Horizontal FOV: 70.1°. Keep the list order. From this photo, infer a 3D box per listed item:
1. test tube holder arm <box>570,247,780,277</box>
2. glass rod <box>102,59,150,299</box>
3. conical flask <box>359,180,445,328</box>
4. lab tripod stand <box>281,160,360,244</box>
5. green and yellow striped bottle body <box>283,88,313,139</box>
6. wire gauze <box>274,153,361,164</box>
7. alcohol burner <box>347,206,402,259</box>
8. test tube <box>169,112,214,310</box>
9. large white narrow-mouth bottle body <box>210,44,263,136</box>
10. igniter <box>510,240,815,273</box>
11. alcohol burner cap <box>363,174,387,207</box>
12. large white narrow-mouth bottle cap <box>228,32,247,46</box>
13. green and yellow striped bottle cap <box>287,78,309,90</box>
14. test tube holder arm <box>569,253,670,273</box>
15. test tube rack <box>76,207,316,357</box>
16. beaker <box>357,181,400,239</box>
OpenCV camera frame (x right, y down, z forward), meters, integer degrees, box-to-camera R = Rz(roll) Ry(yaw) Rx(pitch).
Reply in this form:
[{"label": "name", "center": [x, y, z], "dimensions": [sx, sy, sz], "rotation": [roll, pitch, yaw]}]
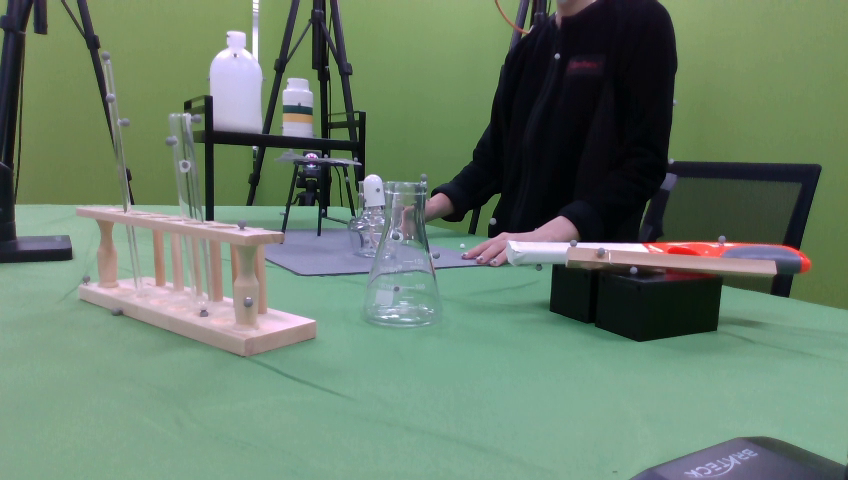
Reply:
[{"label": "test tube holder arm", "center": [0.217, 0.019, 0.525], "dimensions": [0.178, 0.015, 0.013], "rotation": [3, -23, 3]}, {"label": "glass rod", "center": [-0.244, -0.045, 0.496], "dimensions": [0.008, 0.199, 0.008], "rotation": [-3, 13, 1]}, {"label": "conical flask", "center": [-0.017, 0.010, 0.522], "dimensions": [0.075, 0.122, 0.075], "rotation": [2, 7, 0]}, {"label": "lab tripod stand", "center": [-0.170, -0.063, 0.983], "dimensions": [0.148, 0.131, 0.148], "rotation": [1, 6, 0]}, {"label": "green and yellow striped bottle body", "center": [-0.266, -0.275, 1.275], "dimensions": [0.063, 0.119, 0.063], "rotation": [3, 7, 0]}, {"label": "wire gauze", "center": [-0.174, -0.130, 0.978], "dimensions": [0.125, 0.011, 0.121], "rotation": [1, 6, -19]}, {"label": "alcohol burner", "center": [-0.071, -0.034, 0.867], "dimensions": [0.078, 0.119, 0.078], "rotation": [0, 7, 0]}, {"label": "test tube", "center": [-0.175, -0.020, 0.456], "dimensions": [0.017, 0.150, 0.017], "rotation": [-3, 9, 1]}, {"label": "large white narrow-mouth bottle body", "center": [-0.369, -0.305, 1.194], "dimensions": [0.102, 0.194, 0.102], "rotation": [3, 8, 0]}, {"label": "igniter", "center": [0.220, 0.015, 0.565], "dimensions": [0.277, 0.025, 0.057], "rotation": [2, 16, 0]}, {"label": "alcohol burner cap", "center": [-0.072, -0.070, 0.861], "dimensions": [0.034, 0.048, 0.034], "rotation": [-7, 7, 1]}, {"label": "large white narrow-mouth bottle cap", "center": [-0.364, -0.391, 1.180], "dimensions": [0.038, 0.024, 0.037], "rotation": [3, 8, 0]}, {"label": "green and yellow striped bottle cap", "center": [-0.265, -0.326, 1.268], "dimensions": [0.045, 0.020, 0.045], "rotation": [4, 6, 0]}, {"label": "test tube holder arm", "center": [0.172, 0.019, 0.532], "dimensions": [0.088, 0.015, 0.010], "rotation": [3, -23, 3]}, {"label": "test tube rack", "center": [-0.196, 0.023, 0.499], "dimensions": [0.241, 0.085, 0.067], "rotation": [8, 9, 36]}, {"label": "beaker", "center": [-0.080, -0.054, 1.081], "dimensions": [0.083, 0.100, 0.074], "rotation": [9, 10, 34]}]
